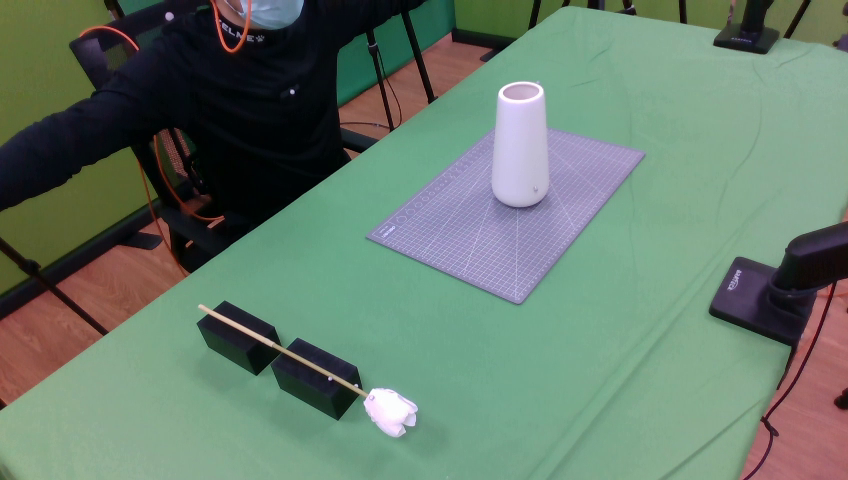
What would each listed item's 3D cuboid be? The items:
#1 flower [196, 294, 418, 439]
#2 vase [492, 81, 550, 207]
[{"bbox_3d":[-0.163,0.142,0.752,0.359,0.038,0.044,24,67,26],"label":"flower"},{"bbox_3d":[0.159,-0.151,0.982,0.098,0.201,0.097,-3,41,3],"label":"vase"}]
